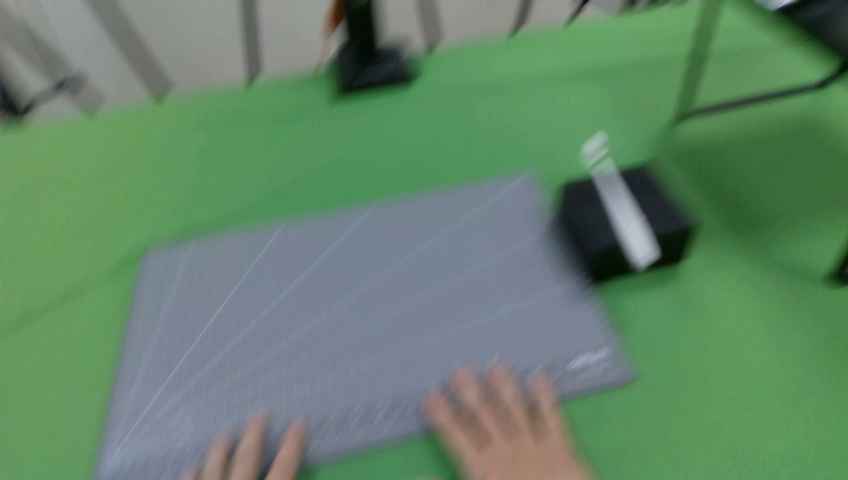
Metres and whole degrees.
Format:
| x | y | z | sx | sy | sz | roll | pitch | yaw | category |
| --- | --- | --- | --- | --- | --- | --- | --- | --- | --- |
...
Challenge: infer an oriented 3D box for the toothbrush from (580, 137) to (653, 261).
| x | y | z | sx | sy | sz | roll | pitch | yaw | category |
| --- | --- | --- | --- | --- | --- | --- | --- | --- | --- |
| 0.186 | -0.046 | 0.594 | 0.014 | 0.017 | 0.180 | -6 | 44 | -3 | toothbrush |

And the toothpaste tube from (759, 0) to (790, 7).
| x | y | z | sx | sy | sz | roll | pitch | yaw | category |
| --- | --- | --- | --- | --- | --- | --- | --- | --- | --- |
| 0.396 | -0.267 | 0.601 | 0.165 | 0.035 | 0.054 | -20 | 41 | -8 | toothpaste tube |
